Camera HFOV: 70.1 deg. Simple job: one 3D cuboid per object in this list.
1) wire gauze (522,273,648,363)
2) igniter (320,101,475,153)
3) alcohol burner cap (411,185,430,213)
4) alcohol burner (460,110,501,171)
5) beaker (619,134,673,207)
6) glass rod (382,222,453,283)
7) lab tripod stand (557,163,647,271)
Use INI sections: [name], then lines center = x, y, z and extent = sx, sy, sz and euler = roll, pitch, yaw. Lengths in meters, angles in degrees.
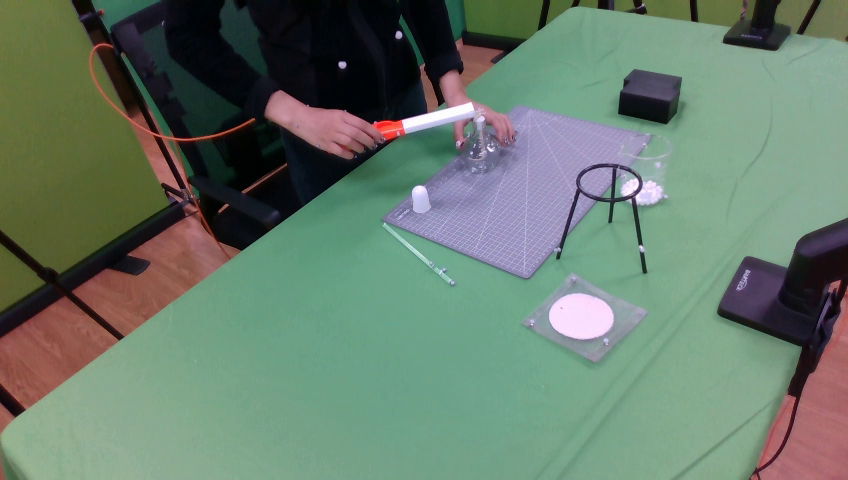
[wire gauze]
center = 0.220, 0.105, 0.828
extent = 0.125, 0.011, 0.120
euler = -35, 47, -30
[igniter]
center = -0.048, -0.198, 1.060
extent = 0.277, 0.025, 0.057
euler = -14, 42, 1
[alcohol burner cap]
center = -0.008, -0.074, 1.050
extent = 0.034, 0.048, 0.033
euler = -4, 40, 4
[alcohol burner]
center = 0.103, -0.186, 1.105
extent = 0.078, 0.119, 0.077
euler = -4, 42, 4
[beaker]
center = 0.356, -0.111, 0.986
extent = 0.084, 0.101, 0.073
euler = -10, 40, 1
[glass rod]
center = -0.014, 0.016, 0.976
extent = 0.008, 0.008, 0.198
euler = -30, 44, -22
[lab tripod stand]
center = 0.271, -0.034, 0.885
extent = 0.148, 0.132, 0.147
euler = -4, 40, 4
